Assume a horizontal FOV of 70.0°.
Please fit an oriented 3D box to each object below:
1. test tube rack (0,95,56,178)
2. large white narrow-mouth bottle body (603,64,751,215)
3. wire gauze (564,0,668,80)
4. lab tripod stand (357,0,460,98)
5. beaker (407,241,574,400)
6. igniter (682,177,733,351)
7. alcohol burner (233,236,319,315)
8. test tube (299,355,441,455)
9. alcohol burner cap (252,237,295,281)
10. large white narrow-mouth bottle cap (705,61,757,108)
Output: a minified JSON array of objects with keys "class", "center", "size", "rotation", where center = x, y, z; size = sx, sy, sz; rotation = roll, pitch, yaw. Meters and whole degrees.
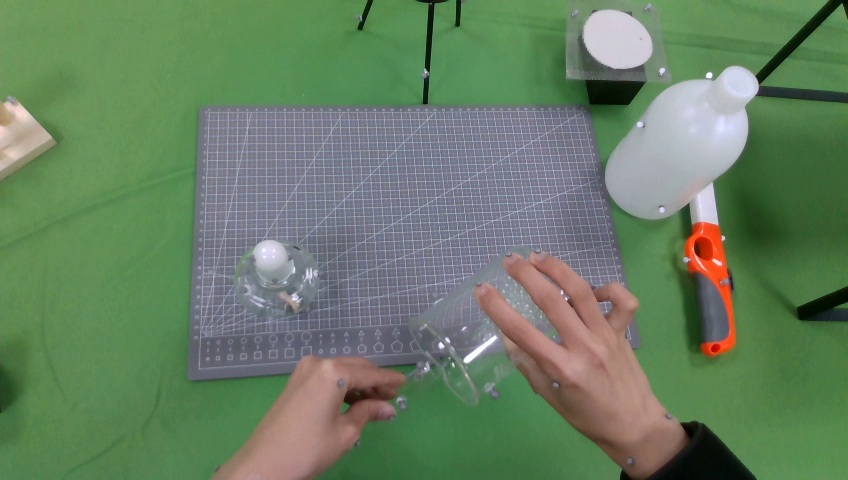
[{"class":"test tube rack","center":[-0.483,-0.063,0.556],"size":[0.066,0.085,0.242],"rotation":[44,69,10]},{"class":"large white narrow-mouth bottle body","center":[0.263,-0.106,0.619],"size":[0.102,0.195,0.101],"rotation":[2,68,-6]},{"class":"wire gauze","center":[0.223,-0.241,0.713],"size":[0.122,0.011,0.124],"rotation":[5,68,-6]},{"class":"lab tripod stand","center":[-0.004,-0.255,0.672],"size":[0.149,0.132,0.147],"rotation":[3,69,-8]},{"class":"beaker","center":[0.050,0.055,0.434],"size":[0.100,0.084,0.073],"rotation":[-35,77,-17]},{"class":"igniter","center":[0.313,-0.011,0.679],"size":[0.057,0.025,0.274],"rotation":[10,67,-18]},{"class":"alcohol burner","center":[-0.135,0.027,0.552],"size":[0.078,0.119,0.077],"rotation":[4,67,-8]},{"class":"test tube","center":[-0.046,0.134,0.480],"size":[0.150,0.017,0.017],"rotation":[-37,73,22]},{"class":"alcohol burner cap","center":[-0.131,0.015,0.518],"size":[0.034,0.048,0.033],"rotation":[1,74,-4]},{"class":"large white narrow-mouth bottle cap","center":[0.273,-0.139,0.541],"size":[0.038,0.024,0.037],"rotation":[3,68,-6]}]
